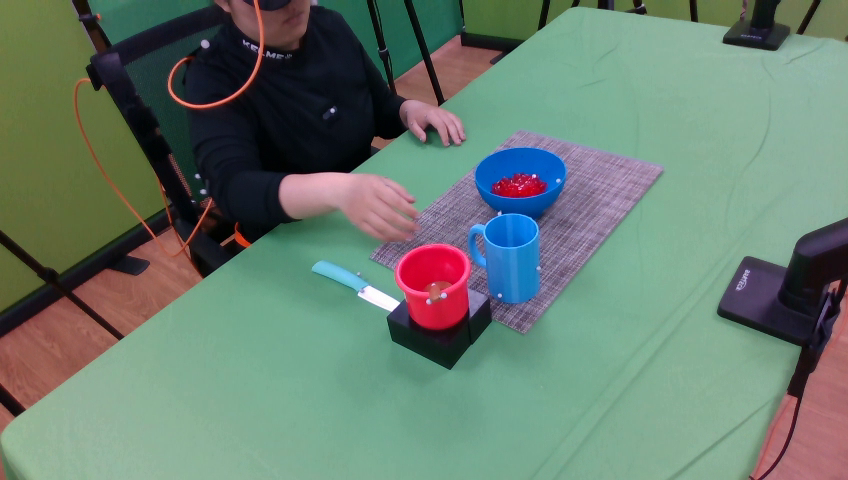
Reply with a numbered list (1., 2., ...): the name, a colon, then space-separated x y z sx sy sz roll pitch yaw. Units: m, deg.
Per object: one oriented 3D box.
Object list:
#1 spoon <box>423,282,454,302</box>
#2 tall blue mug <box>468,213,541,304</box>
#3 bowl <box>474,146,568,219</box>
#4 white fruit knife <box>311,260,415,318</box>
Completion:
1. spoon: 0.015 0.062 0.733 0.041 0.021 0.194 -5 -4 3
2. tall blue mug: 0.111 0.026 0.856 0.107 0.108 0.077 2 42 13
3. bowl: 0.161 -0.083 1.001 0.151 0.077 0.150 -5 40 5
4. white fruit knife: -0.094 0.074 0.920 0.206 0.016 0.027 24 77 31
